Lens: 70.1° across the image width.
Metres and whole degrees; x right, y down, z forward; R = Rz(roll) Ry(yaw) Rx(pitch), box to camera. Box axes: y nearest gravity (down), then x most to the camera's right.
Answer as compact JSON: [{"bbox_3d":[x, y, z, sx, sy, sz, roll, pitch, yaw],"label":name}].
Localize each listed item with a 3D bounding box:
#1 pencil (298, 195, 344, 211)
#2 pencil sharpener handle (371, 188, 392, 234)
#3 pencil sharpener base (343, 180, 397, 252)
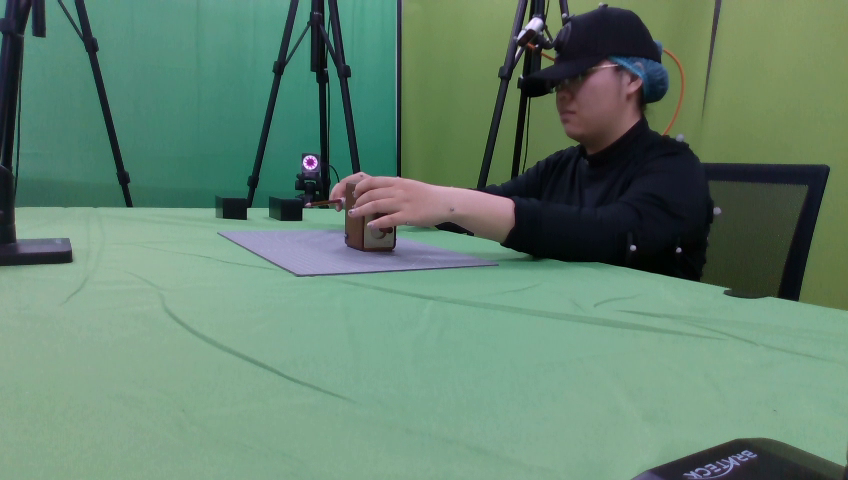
[{"bbox_3d":[-0.185,-0.069,1.124,0.012,0.012,0.194,5,12,17],"label":"pencil"},{"bbox_3d":[-0.058,-0.044,0.913,0.036,0.067,0.030,-2,9,-32],"label":"pencil sharpener handle"},{"bbox_3d":[-0.085,-0.039,0.957,0.062,0.107,0.076,-2,9,-32],"label":"pencil sharpener base"}]
